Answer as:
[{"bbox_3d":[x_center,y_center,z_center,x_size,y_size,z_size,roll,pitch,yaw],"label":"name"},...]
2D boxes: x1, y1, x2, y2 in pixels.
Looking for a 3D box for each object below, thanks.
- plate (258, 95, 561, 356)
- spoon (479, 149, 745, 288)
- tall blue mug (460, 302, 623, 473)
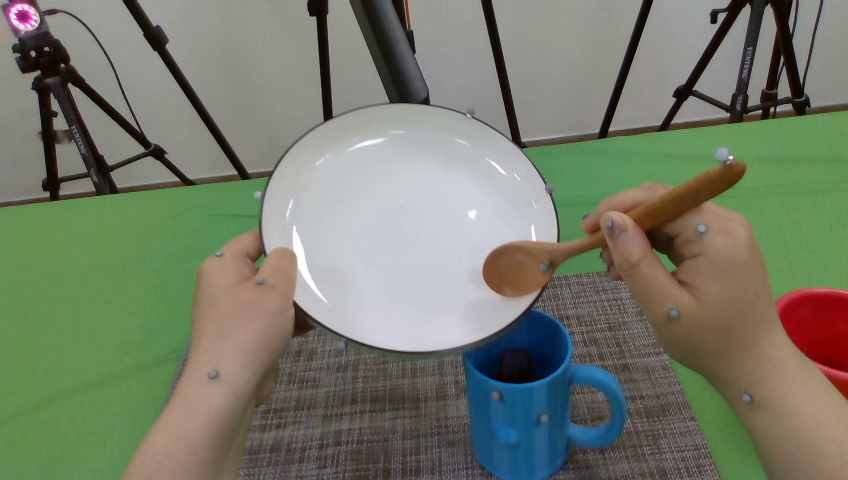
[{"bbox_3d":[-0.009,-0.013,0.431,0.208,0.039,0.206,3,60,-5],"label":"plate"},{"bbox_3d":[0.091,-0.005,0.339,0.021,0.042,0.193,-47,9,-29],"label":"spoon"},{"bbox_3d":[0.083,0.107,0.450,0.107,0.109,0.077,-10,36,-2],"label":"tall blue mug"}]
